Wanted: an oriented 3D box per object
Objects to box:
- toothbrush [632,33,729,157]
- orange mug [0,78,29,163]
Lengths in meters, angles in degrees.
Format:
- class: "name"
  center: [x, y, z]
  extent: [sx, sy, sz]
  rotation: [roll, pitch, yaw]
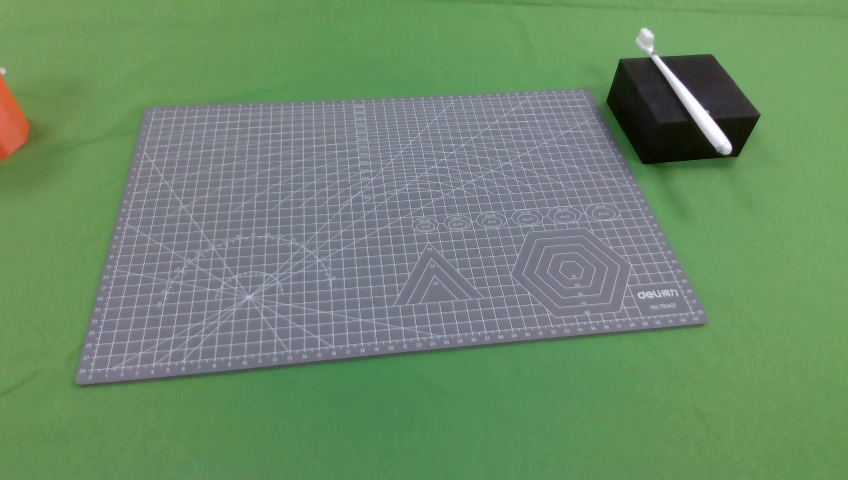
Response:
- class: "toothbrush"
  center: [0.235, -0.140, 0.563]
  extent: [0.014, 0.017, 0.180]
  rotation: [-5, 50, -11]
- class: "orange mug"
  center: [-0.419, -0.112, 0.508]
  extent: [0.083, 0.101, 0.126]
  rotation: [38, 52, 26]
